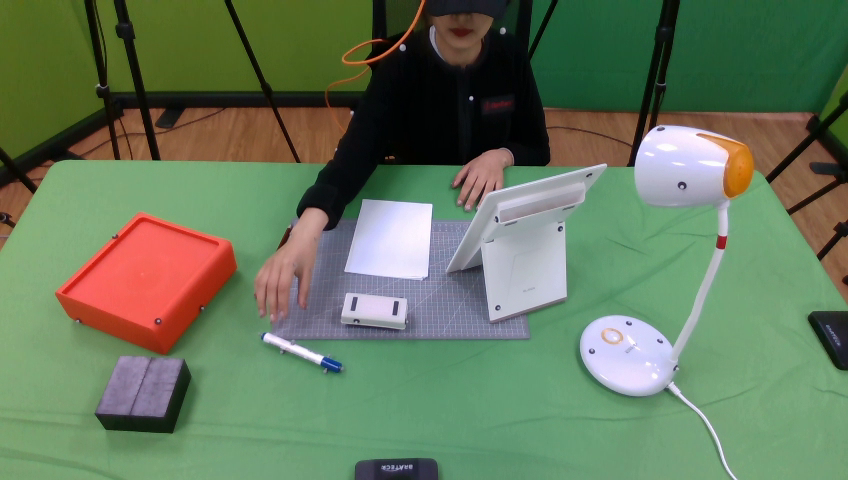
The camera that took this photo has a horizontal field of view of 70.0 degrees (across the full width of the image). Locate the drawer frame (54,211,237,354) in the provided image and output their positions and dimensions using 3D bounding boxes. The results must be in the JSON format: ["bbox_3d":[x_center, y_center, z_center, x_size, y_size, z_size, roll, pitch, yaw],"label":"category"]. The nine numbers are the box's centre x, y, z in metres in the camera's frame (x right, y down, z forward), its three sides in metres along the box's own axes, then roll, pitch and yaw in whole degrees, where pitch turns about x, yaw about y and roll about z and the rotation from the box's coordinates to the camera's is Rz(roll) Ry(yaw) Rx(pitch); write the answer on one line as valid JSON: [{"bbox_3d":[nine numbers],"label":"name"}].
[{"bbox_3d":[-0.473,0.067,1.055,0.201,0.083,0.212,17,48,11],"label":"drawer frame"}]

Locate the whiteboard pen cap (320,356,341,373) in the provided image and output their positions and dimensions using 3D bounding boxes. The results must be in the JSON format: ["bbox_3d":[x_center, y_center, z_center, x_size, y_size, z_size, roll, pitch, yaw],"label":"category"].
[{"bbox_3d":[-0.154,0.203,0.992,0.033,0.018,0.018,21,48,13],"label":"whiteboard pen cap"}]

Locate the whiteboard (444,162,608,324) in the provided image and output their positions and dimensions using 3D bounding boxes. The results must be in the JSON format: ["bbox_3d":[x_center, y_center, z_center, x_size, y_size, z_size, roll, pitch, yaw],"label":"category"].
[{"bbox_3d":[0.186,0.026,1.028,0.217,0.306,0.143,-14,68,-18],"label":"whiteboard"}]

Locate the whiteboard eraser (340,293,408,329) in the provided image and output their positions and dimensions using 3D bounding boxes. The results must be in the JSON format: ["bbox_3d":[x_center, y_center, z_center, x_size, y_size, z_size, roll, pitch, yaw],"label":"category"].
[{"bbox_3d":[-0.087,0.125,1.052,0.113,0.042,0.055,5,45,1],"label":"whiteboard eraser"}]

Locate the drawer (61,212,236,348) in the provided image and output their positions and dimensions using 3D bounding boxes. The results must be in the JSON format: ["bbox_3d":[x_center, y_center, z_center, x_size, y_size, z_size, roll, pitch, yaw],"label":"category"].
[{"bbox_3d":[-0.473,0.064,1.059,0.194,0.073,0.211,18,48,11],"label":"drawer"}]

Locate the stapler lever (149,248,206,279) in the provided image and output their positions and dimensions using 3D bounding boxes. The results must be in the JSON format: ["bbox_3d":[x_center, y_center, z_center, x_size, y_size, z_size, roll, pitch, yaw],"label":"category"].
[{"bbox_3d":[-0.443,0.037,1.084,0.118,0.040,0.027,19,49,17],"label":"stapler lever"}]

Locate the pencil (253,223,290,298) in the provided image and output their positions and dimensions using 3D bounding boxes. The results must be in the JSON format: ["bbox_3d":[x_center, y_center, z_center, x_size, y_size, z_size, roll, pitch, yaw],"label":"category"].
[{"bbox_3d":[-0.285,0.033,1.150,0.012,0.012,0.193,9,46,5],"label":"pencil"}]

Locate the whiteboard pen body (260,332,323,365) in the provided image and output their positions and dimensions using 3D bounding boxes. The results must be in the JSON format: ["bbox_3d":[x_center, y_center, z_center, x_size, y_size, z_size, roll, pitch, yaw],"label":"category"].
[{"bbox_3d":[-0.208,0.184,1.003,0.140,0.017,0.017,20,48,12],"label":"whiteboard pen body"}]

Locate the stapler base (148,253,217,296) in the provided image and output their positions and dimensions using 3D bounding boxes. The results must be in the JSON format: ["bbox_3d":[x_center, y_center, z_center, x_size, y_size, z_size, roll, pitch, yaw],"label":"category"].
[{"bbox_3d":[-0.443,0.059,1.109,0.130,0.024,0.041,24,51,11],"label":"stapler base"}]

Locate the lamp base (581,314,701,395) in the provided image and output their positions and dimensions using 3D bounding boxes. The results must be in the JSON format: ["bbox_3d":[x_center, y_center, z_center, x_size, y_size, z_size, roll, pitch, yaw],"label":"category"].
[{"bbox_3d":[0.361,0.145,0.972,0.178,0.181,0.160,34,53,23],"label":"lamp base"}]

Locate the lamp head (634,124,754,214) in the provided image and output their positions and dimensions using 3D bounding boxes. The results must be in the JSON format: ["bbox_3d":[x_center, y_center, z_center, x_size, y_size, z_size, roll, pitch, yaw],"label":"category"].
[{"bbox_3d":[0.351,-0.089,0.775,0.112,0.113,0.122,-30,30,-28],"label":"lamp head"}]
